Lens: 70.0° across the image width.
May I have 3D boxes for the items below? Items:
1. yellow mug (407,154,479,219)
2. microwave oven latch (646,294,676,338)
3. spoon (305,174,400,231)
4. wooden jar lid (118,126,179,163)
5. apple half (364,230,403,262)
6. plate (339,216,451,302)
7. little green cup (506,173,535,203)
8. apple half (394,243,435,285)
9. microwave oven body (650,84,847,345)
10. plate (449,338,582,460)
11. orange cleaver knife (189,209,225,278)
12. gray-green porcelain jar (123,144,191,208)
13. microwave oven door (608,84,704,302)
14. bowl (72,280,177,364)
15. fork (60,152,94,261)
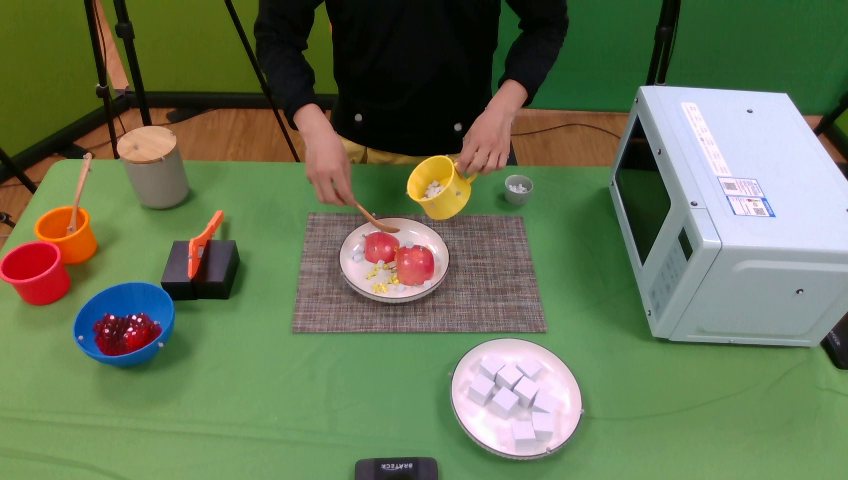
[{"bbox_3d":[0.040,-0.105,1.096,0.131,0.064,0.099,-30,46,14],"label":"yellow mug"},{"bbox_3d":[0.412,0.133,1.060,0.030,0.029,0.078,3,46,0],"label":"microwave oven latch"},{"bbox_3d":[-0.127,-0.066,1.067,0.193,0.042,0.021,35,84,7],"label":"spoon"},{"bbox_3d":[-0.528,-0.181,1.167,0.108,0.021,0.107,4,48,-4],"label":"wooden jar lid"},{"bbox_3d":[-0.078,0.004,1.159,0.081,0.033,0.081,1,49,0],"label":"apple half"},{"bbox_3d":[-0.054,0.038,1.138,0.209,0.038,0.208,2,46,-2],"label":"plate"},{"bbox_3d":[0.205,-0.111,1.302,0.061,0.039,0.061,1,45,-1],"label":"little green cup"},{"bbox_3d":[-0.016,0.036,1.120,0.075,0.053,0.080,1,46,-6],"label":"apple half"},{"bbox_3d":[0.569,-0.054,1.116,0.326,0.261,0.439,2,46,-1],"label":"microwave oven body"},{"bbox_3d":[0.141,0.251,0.956,0.208,0.039,0.206,2,47,-2],"label":"plate"},{"bbox_3d":[-0.400,0.002,1.122,0.012,0.077,0.210,4,23,-4],"label":"orange cleaver knife"},{"bbox_3d":[-0.530,-0.137,1.213,0.106,0.127,0.105,2,46,-2],"label":"gray-green porcelain jar"},{"bbox_3d":[0.424,-0.096,1.138,0.039,0.245,0.353,2,47,-1],"label":"microwave oven door"},{"bbox_3d":[-0.472,0.147,0.982,0.151,0.077,0.150,2,46,-2],"label":"bowl"},{"bbox_3d":[-0.638,-0.063,1.119,0.028,0.018,0.207,12,90,8],"label":"fork"}]
